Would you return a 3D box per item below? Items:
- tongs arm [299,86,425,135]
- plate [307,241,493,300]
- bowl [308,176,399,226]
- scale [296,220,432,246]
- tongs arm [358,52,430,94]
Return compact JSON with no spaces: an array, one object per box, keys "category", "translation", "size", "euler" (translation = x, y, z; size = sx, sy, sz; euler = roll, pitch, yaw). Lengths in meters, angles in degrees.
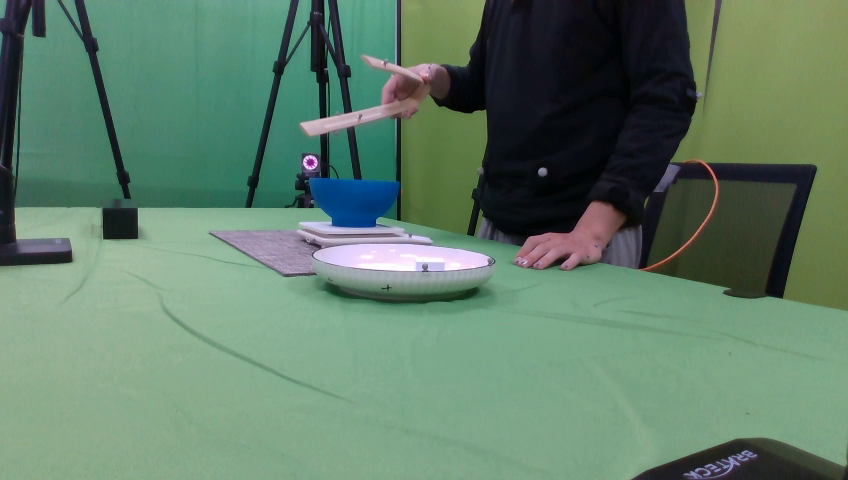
[{"category":"tongs arm","translation":[-0.092,-0.231,1.049],"size":[0.026,0.050,0.386],"euler":[47,27,3]},{"category":"plate","translation":[-0.027,0.034,0.684],"size":[0.208,0.039,0.207],"euler":[2,7,0]},{"category":"bowl","translation":[-0.116,-0.064,1.001],"size":[0.151,0.077,0.151],"euler":[2,6,0]},{"category":"scale","translation":[-0.101,-0.012,1.017],"size":[0.202,0.031,0.148],"euler":[-1,8,-30]},{"category":"tongs arm","translation":[-0.040,-0.278,1.018],"size":[0.028,0.028,0.388],"euler":[43,16,4]}]
